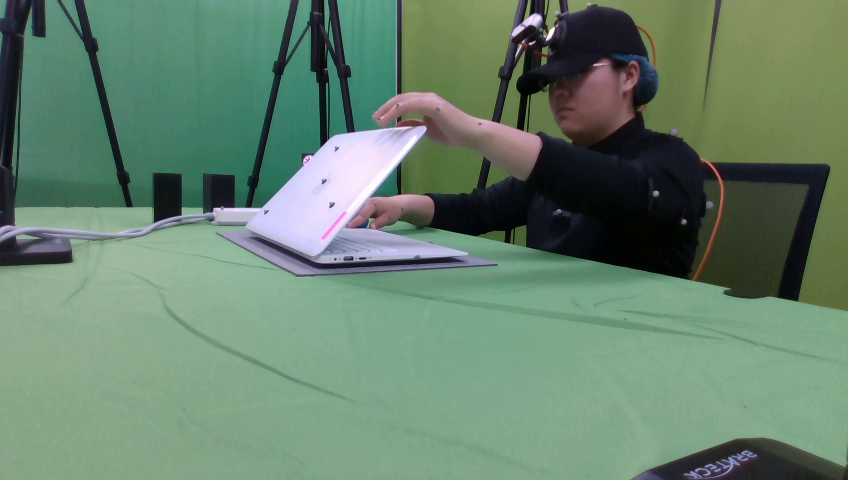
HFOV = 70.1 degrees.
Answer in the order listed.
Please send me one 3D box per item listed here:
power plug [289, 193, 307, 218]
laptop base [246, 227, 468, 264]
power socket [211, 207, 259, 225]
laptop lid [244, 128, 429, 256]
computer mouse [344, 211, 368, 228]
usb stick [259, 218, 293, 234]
[{"bbox_3d":[-0.281,-0.076,1.340,0.035,0.052,0.072,3,5,-18],"label":"power plug"},{"bbox_3d":[-0.122,0.006,0.954,0.237,0.023,0.352,2,6,-31],"label":"laptop base"},{"bbox_3d":[-0.334,-0.051,1.282,0.228,0.032,0.072,-1,9,-28],"label":"power socket"},{"bbox_3d":[-0.151,-0.086,0.921,0.013,0.242,0.355,48,-16,-27],"label":"laptop lid"},{"bbox_3d":[-0.179,-0.045,1.275,0.118,0.041,0.062,-6,13,-29],"label":"computer mouse"},{"bbox_3d":[-0.272,-0.025,1.108,0.059,0.027,0.021,-3,14,-28],"label":"usb stick"}]
